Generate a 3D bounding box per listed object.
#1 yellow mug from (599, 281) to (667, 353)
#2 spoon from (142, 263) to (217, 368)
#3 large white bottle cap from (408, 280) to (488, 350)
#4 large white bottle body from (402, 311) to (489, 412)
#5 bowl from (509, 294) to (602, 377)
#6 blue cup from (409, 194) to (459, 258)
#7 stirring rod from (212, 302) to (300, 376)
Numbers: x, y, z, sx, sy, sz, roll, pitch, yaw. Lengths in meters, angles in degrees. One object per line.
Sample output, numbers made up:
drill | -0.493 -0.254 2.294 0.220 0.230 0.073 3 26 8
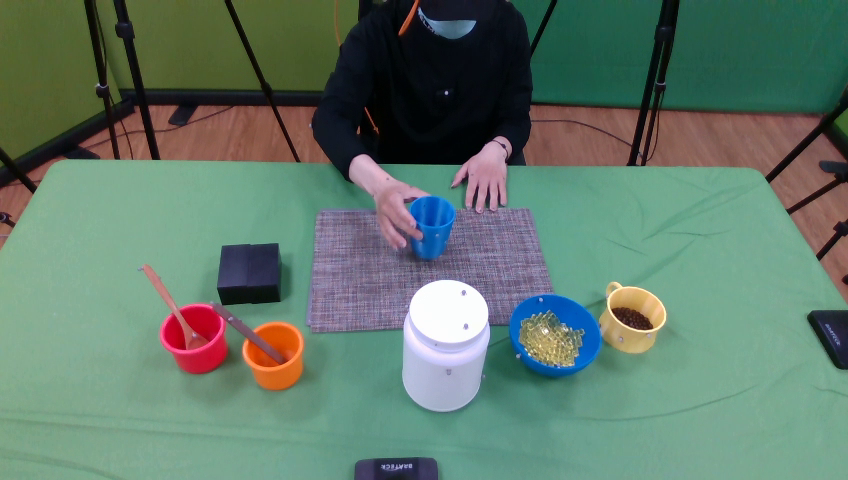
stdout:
yellow mug | 0.359 0.127 1.069 0.100 0.064 0.130 -12 47 -14
spoon | -0.392 0.120 0.968 0.041 0.021 0.194 -33 100 -30
large white bottle cap | 0.034 0.105 0.867 0.115 0.018 0.114 2 46 -1
large white bottle body | 0.031 0.163 0.928 0.131 0.185 0.130 2 46 -2
bowl | 0.211 0.171 1.007 0.151 0.077 0.150 2 46 -2
blue cup | 0.011 -0.020 1.124 0.093 0.100 0.092 4 47 -4
stirring rod | -0.261 0.156 0.948 0.177 0.006 0.014 45 45 -20
